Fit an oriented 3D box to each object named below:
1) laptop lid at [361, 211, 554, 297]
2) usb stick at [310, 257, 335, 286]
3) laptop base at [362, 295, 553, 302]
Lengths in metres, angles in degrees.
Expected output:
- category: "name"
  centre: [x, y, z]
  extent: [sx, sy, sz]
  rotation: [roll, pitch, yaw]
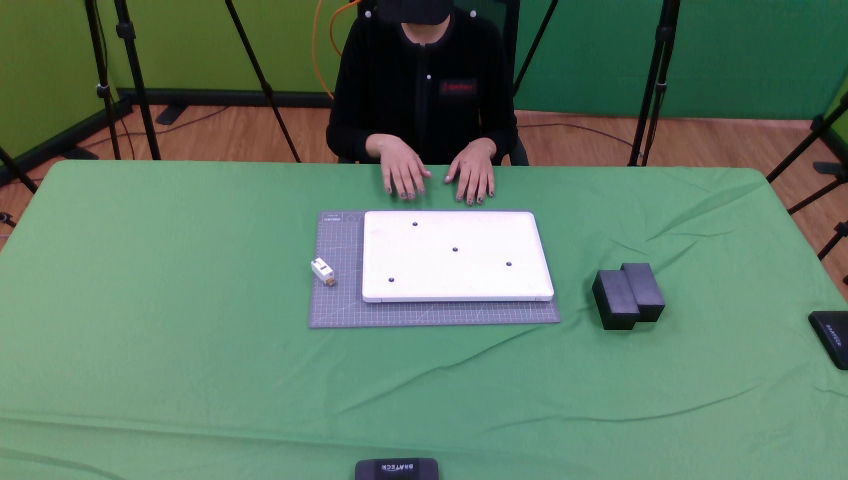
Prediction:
- category: "laptop lid"
  centre: [0.058, 0.020, 1.169]
  extent: [0.357, 0.013, 0.240]
  rotation: [1, 44, -3]
- category: "usb stick"
  centre: [-0.185, 0.060, 1.119]
  extent: [0.021, 0.027, 0.059]
  rotation: [-30, 57, -28]
- category: "laptop base"
  centre: [0.058, 0.030, 1.175]
  extent: [0.355, 0.023, 0.234]
  rotation: [0, 43, -4]
